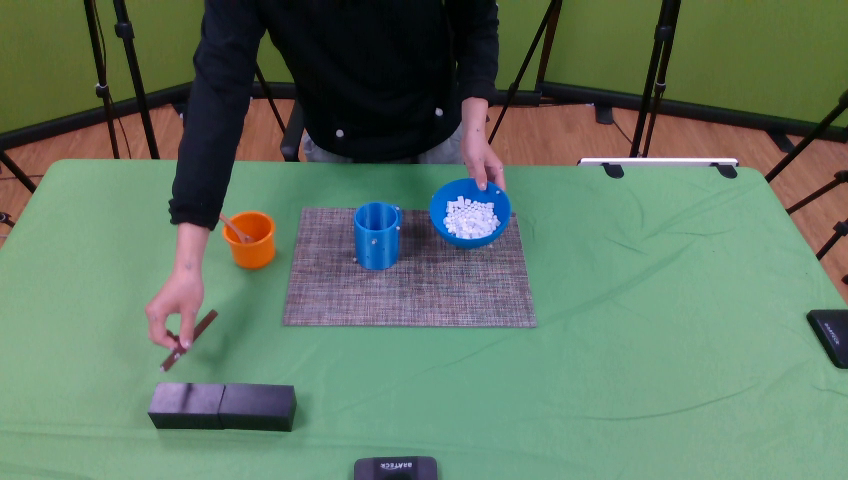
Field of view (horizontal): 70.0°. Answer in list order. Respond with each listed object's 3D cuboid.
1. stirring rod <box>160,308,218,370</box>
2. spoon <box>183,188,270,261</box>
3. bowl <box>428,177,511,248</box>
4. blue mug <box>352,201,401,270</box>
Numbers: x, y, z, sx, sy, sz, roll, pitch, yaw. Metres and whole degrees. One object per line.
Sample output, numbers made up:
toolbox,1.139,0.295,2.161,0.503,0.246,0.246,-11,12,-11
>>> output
stirring rod,-0.362,0.150,0.941,0.014,0.006,0.175,45,19,-11
spoon,-0.360,-0.029,1.110,0.021,0.194,0.041,-23,29,39
bowl,0.085,-0.037,1.130,0.151,0.077,0.150,-2,53,3
blue mug,-0.082,-0.017,1.144,0.082,0.106,0.116,30,51,23
